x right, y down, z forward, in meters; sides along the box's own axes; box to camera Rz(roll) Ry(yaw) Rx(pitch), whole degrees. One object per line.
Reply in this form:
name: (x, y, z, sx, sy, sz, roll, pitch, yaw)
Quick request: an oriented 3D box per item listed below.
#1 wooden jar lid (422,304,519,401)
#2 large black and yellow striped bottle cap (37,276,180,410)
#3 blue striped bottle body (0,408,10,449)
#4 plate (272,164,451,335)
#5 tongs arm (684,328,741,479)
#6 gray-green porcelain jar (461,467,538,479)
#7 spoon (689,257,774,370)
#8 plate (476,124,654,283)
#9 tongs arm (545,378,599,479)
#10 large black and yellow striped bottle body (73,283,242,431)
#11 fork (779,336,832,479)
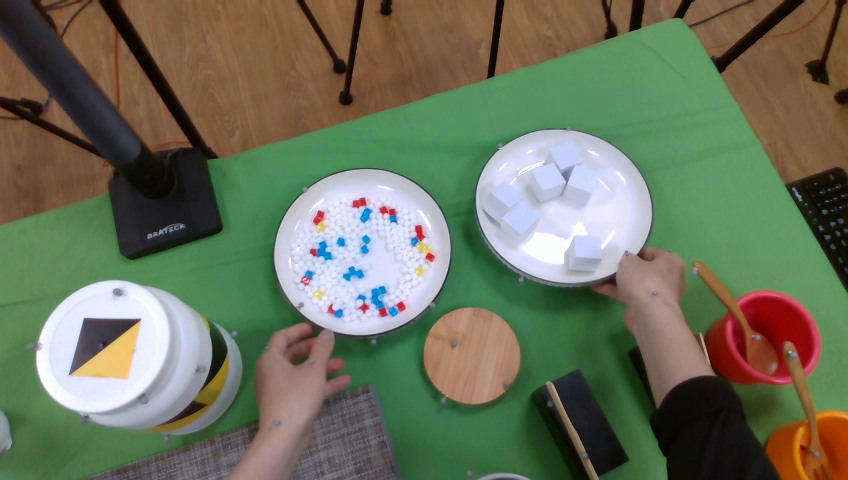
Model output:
wooden jar lid: (0.052, 0.126, 0.681, 0.108, 0.021, 0.107, 0, 72, 1)
large black and yellow striped bottle cap: (-0.271, 0.088, 0.522, 0.115, 0.019, 0.114, 0, 72, 0)
blue striped bottle body: (-0.487, 0.193, 0.610, 0.063, 0.121, 0.062, 0, 71, 1)
plate: (-0.071, 0.011, 0.713, 0.209, 0.038, 0.207, 0, 71, 1)
tongs arm: (0.301, 0.278, 0.587, 0.028, 0.028, 0.386, -8, 81, -10)
gray-green porcelain jar: (0.071, 0.271, 0.574, 0.106, 0.127, 0.105, 0, 70, 1)
spoon: (0.322, 0.076, 0.630, 0.195, 0.021, 0.041, 46, 71, -31)
plate: (0.165, -0.042, 0.723, 0.208, 0.039, 0.206, 0, 67, 1)
tongs arm: (0.220, 0.303, 0.579, 0.051, 0.026, 0.383, -22, 82, -9)
large black and yellow striped bottle body: (-0.270, 0.118, 0.601, 0.131, 0.185, 0.130, 0, 70, 1)
fork: (0.373, 0.172, 0.593, 0.028, 0.018, 0.209, -28, 117, 0)
